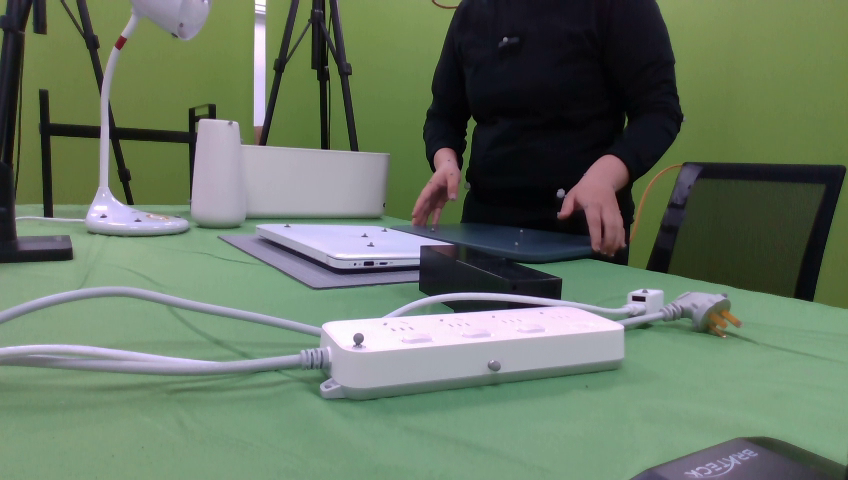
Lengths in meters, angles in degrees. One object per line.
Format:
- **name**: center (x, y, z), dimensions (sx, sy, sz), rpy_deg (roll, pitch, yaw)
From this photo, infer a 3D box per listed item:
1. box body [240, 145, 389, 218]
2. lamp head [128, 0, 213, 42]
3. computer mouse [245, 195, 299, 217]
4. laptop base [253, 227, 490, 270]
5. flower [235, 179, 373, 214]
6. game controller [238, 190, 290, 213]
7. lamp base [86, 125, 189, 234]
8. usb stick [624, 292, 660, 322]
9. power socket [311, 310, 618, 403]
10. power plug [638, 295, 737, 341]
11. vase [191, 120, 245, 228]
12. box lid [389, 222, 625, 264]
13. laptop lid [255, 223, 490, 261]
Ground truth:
- **box body**: center (-0.297, -0.143, 1.474), dimensions (0.366, 0.160, 0.253), rpy_deg (-1, 9, -30)
- **lamp head**: center (-0.423, -0.394, 0.980), dimensions (0.123, 0.112, 0.112), rpy_deg (20, 7, -3)
- **computer mouse**: center (-0.345, -0.077, 1.371), dimensions (0.118, 0.041, 0.062), rpy_deg (-12, 17, -32)
- **laptop base**: center (-0.096, 0.011, 0.911), dimensions (0.237, 0.023, 0.352), rpy_deg (3, 6, -32)
- **flower**: center (-0.267, -0.090, 1.419), dimensions (0.364, 0.038, 0.044), rpy_deg (10, -43, -40)
- **game controller**: center (-0.391, -0.094, 1.465), dimensions (0.097, 0.051, 0.154), rpy_deg (-3, 8, -29)
- **lamp base**: center (-0.497, -0.105, 1.027), dimensions (0.179, 0.180, 0.160), rpy_deg (1, 7, 3)
- **usb stick**: center (0.211, 0.064, 0.580), dimensions (0.021, 0.027, 0.059), rpy_deg (-2, -4, 37)
- **power socket**: center (0.034, 0.074, 0.415), dimensions (0.228, 0.032, 0.072), rpy_deg (-1, 7, -24)
- **power plug**: center (0.235, 0.077, 0.535), dimensions (0.072, 0.035, 0.052), rpy_deg (-34, 40, -5)
- **vase**: center (-0.389, -0.124, 1.142), dimensions (0.098, 0.200, 0.098), rpy_deg (3, 9, 0)
- **box lid**: center (0.139, 0.000, 1.081), dimensions (0.265, 0.015, 0.369), rpy_deg (-5, 11, -40)
- **laptop lid**: center (-0.093, 0.000, 0.911), dimensions (0.243, 0.013, 0.355), rpy_deg (1, 7, -30)
